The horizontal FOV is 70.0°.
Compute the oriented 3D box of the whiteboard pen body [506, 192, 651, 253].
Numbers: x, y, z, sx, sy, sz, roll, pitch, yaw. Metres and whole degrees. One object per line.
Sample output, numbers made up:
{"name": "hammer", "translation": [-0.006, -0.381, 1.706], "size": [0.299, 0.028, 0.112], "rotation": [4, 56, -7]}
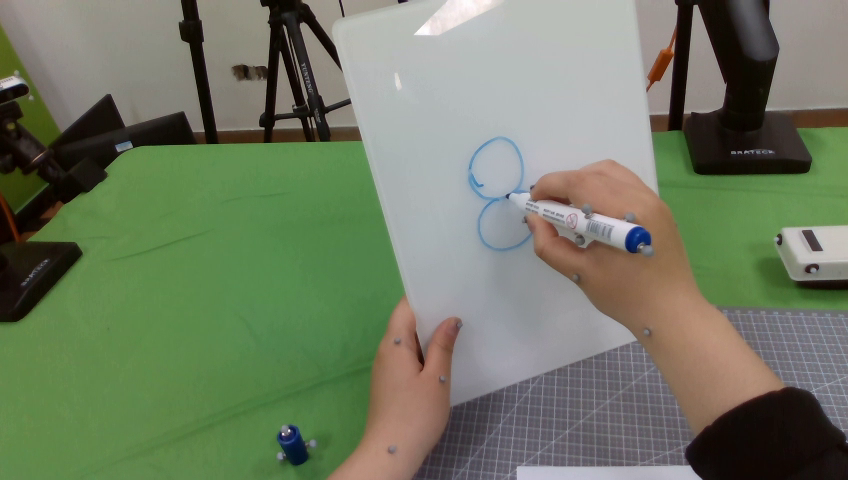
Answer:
{"name": "whiteboard pen body", "translation": [0.090, -0.016, 0.388], "size": [0.017, 0.017, 0.139], "rotation": [-25, 23, -17]}

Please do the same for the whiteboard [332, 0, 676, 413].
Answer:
{"name": "whiteboard", "translation": [0.064, -0.050, 0.516], "size": [0.217, 0.307, 0.143], "rotation": [-17, 19, -7]}

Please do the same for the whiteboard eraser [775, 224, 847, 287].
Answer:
{"name": "whiteboard eraser", "translation": [0.376, 0.014, 0.530], "size": [0.112, 0.042, 0.055], "rotation": [-1, 42, 11]}

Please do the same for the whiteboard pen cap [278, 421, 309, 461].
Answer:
{"name": "whiteboard pen cap", "translation": [-0.100, 0.155, 0.467], "size": [0.018, 0.033, 0.018], "rotation": [-5, 39, 5]}
